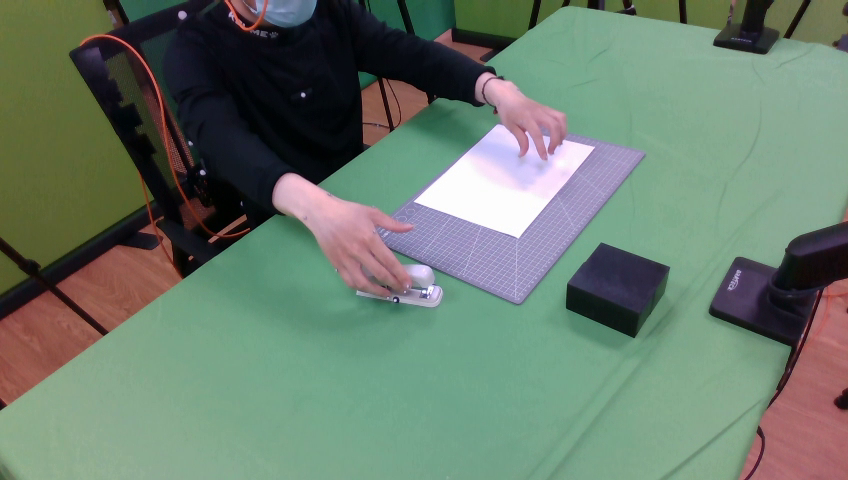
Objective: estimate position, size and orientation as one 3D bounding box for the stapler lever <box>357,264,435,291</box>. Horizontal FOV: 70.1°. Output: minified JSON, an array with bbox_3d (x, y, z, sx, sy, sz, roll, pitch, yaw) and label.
[{"bbox_3d":[-0.042,0.051,0.879,0.117,0.040,0.027,7,41,17],"label":"stapler lever"}]

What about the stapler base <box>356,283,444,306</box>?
[{"bbox_3d":[-0.037,0.069,0.895,0.130,0.024,0.041,6,40,18],"label":"stapler base"}]
